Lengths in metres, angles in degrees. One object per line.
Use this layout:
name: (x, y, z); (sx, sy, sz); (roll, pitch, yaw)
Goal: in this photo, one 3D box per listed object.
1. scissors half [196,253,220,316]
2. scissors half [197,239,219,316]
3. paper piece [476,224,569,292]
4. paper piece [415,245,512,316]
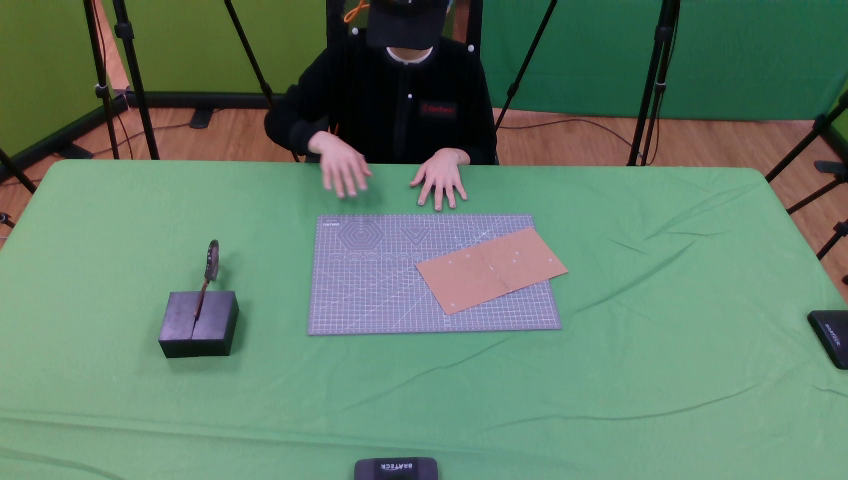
scissors half: (-0.379, 0.078, 1.062); (0.013, 0.040, 0.174); (3, 29, -8)
scissors half: (-0.375, 0.063, 1.049); (0.013, 0.040, 0.174); (7, 46, -12)
paper piece: (0.192, 0.033, 1.185); (0.136, 0.004, 0.134); (-17, 51, -19)
paper piece: (0.072, 0.071, 1.140); (0.138, 0.009, 0.135); (-18, 46, -18)
